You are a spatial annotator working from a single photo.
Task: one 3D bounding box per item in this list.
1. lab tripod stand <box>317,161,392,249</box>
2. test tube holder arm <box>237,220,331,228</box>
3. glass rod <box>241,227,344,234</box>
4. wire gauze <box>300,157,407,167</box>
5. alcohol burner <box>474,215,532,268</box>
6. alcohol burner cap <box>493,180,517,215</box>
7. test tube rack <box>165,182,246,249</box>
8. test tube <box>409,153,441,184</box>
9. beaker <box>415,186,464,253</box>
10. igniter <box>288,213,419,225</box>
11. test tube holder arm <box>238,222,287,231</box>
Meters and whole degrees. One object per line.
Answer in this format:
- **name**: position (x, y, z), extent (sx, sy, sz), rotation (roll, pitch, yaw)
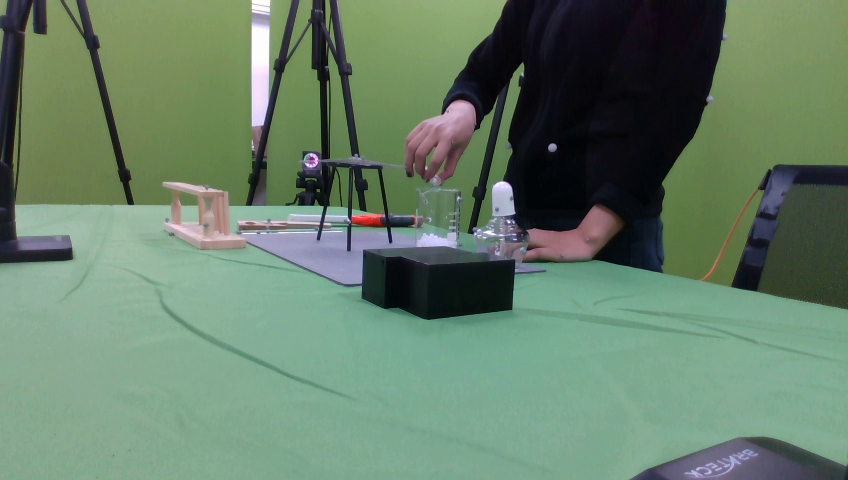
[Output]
- **lab tripod stand**: position (-0.111, -0.059, 0.963), extent (0.148, 0.131, 0.148), rotation (4, 8, 0)
- **test tube holder arm**: position (-0.261, -0.029, 1.141), extent (0.179, 0.015, 0.013), rotation (-2, 42, -33)
- **glass rod**: position (-0.239, -0.019, 1.119), extent (0.201, 0.008, 0.008), rotation (-3, 9, -34)
- **wire gauze**: position (-0.112, -0.125, 0.958), extent (0.121, 0.011, 0.126), rotation (11, 11, 42)
- **alcohol burner**: position (0.107, -0.022, 0.819), extent (0.078, 0.119, 0.078), rotation (1, 9, 0)
- **alcohol burner cap**: position (0.107, -0.057, 0.813), extent (0.034, 0.048, 0.034), rotation (-6, 11, 2)
- **test tube rack**: position (-0.360, -0.045, 0.982), extent (0.067, 0.085, 0.241), rotation (-3, 9, -34)
- **test tube**: position (0.000, -0.122, 1.023), extent (0.017, 0.017, 0.149), rotation (0, 22, -17)
- **beaker**: position (0.020, -0.033, 0.938), extent (0.073, 0.100, 0.084), rotation (7, 9, 36)
- **igniter**: position (-0.145, -0.044, 1.278), extent (0.278, 0.025, 0.057), rotation (-1, -2, -21)
- **test tube holder arm**: position (-0.297, -0.024, 1.113), extent (0.088, 0.015, 0.010), rotation (-2, 42, -33)
